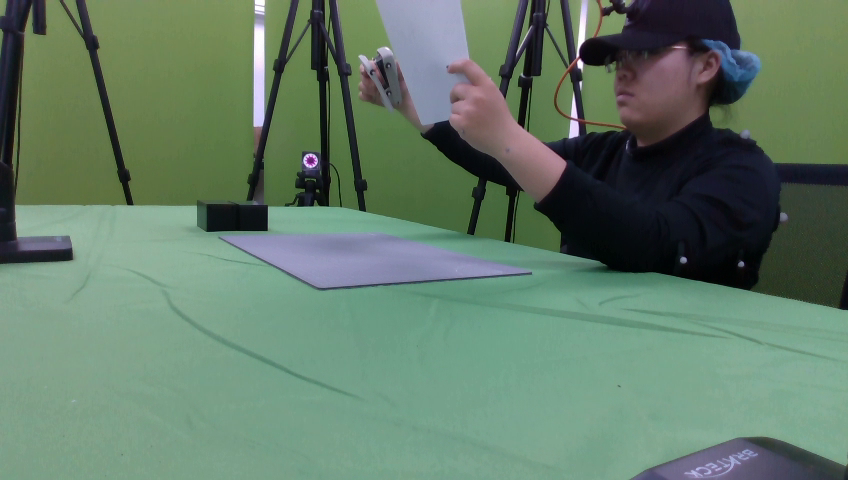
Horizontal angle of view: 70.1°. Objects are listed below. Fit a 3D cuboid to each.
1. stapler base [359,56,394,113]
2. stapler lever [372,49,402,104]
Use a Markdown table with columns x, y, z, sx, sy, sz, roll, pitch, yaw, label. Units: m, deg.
| x | y | z | sx | sy | sz | roll | pitch | yaw | label |
| --- | --- | --- | --- | --- | --- | --- | --- | --- | --- |
| -0.082 | -0.292 | 1.124 | 0.024 | 0.041 | 0.131 | -31 | -33 | -2 | stapler base |
| -0.062 | -0.305 | 1.126 | 0.040 | 0.026 | 0.118 | -32 | -33 | -1 | stapler lever |
